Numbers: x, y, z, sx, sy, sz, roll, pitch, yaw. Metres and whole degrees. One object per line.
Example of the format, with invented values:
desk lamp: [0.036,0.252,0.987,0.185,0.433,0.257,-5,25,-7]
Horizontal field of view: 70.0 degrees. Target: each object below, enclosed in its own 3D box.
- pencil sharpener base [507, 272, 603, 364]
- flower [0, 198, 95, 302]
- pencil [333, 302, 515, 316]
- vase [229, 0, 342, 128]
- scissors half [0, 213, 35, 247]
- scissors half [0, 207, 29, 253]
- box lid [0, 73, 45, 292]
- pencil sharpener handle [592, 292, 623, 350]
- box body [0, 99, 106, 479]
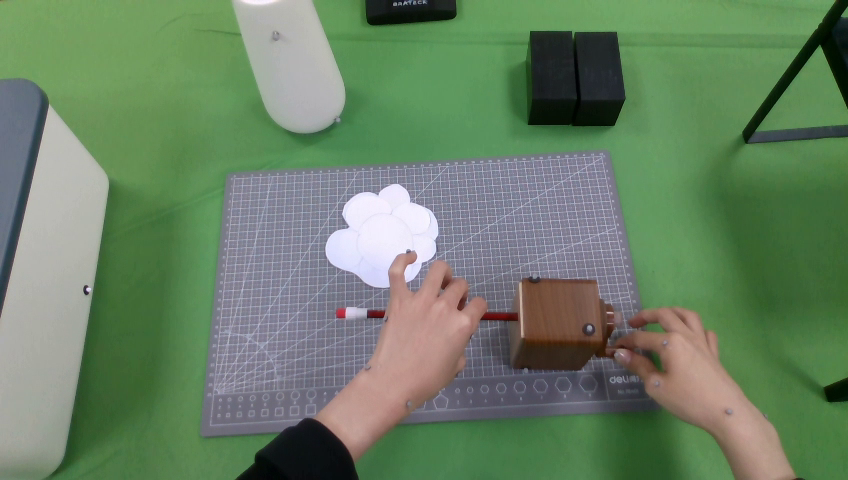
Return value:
pencil sharpener base: [0.121,0.076,0.571,0.077,0.108,0.061,0,65,2]
flower: [-0.473,0.075,0.656,0.038,0.044,0.359,-11,40,33]
pencil: [0.013,0.063,0.549,0.194,0.012,0.012,1,65,2]
vase: [-0.152,-0.212,0.662,0.098,0.201,0.097,-1,64,3]
scissors half: [-0.518,0.015,0.660,0.175,0.040,0.012,-29,36,-12]
scissors half: [-0.512,0.025,0.668,0.175,0.040,0.012,-36,31,-6]
box lid: [-0.480,0.012,0.509,0.263,0.015,0.368,-4,66,-2]
pencil sharpener handle: [0.171,0.077,0.555,0.030,0.068,0.035,0,41,2]
box body: [-0.477,0.046,0.578,0.254,0.161,0.361,-5,66,0]
